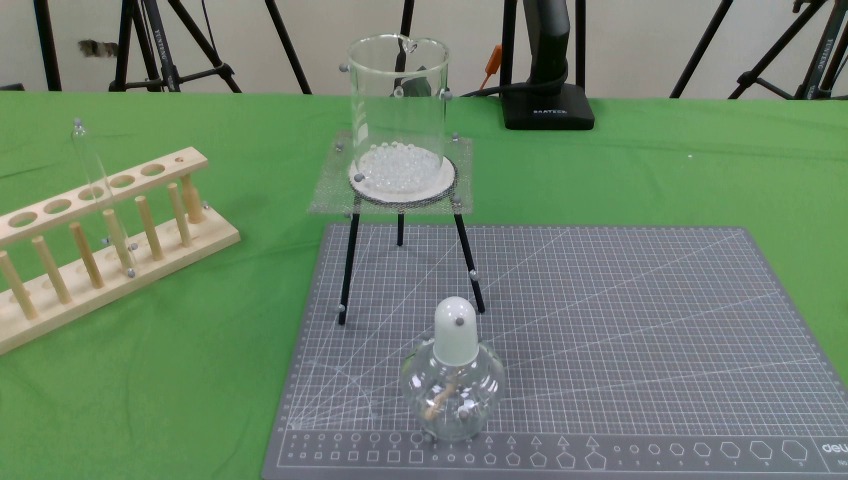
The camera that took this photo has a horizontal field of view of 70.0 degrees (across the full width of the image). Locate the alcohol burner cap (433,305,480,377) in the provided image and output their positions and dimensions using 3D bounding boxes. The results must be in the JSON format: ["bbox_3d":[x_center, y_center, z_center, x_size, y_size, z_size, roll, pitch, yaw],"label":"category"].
[{"bbox_3d":[0.022,0.065,0.407,0.034,0.048,0.033,-2,38,2],"label":"alcohol burner cap"}]

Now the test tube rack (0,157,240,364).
[{"bbox_3d":[-0.302,0.013,0.558,0.242,0.086,0.066,-30,47,-33],"label":"test tube rack"}]

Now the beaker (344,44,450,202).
[{"bbox_3d":[-0.020,-0.088,0.457,0.074,0.101,0.083,8,38,7],"label":"beaker"}]

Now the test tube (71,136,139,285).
[{"bbox_3d":[-0.277,-0.021,0.529,0.017,0.151,0.017,1,37,0],"label":"test tube"}]

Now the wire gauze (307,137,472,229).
[{"bbox_3d":[-0.022,-0.048,0.486,0.121,0.011,0.124,2,40,2],"label":"wire gauze"}]

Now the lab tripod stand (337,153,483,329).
[{"bbox_3d":[-0.014,0.003,0.528,0.148,0.132,0.147,1,37,-1],"label":"lab tripod stand"}]

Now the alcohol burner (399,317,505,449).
[{"bbox_3d":[0.021,0.093,0.429,0.078,0.120,0.077,1,40,0],"label":"alcohol burner"}]
